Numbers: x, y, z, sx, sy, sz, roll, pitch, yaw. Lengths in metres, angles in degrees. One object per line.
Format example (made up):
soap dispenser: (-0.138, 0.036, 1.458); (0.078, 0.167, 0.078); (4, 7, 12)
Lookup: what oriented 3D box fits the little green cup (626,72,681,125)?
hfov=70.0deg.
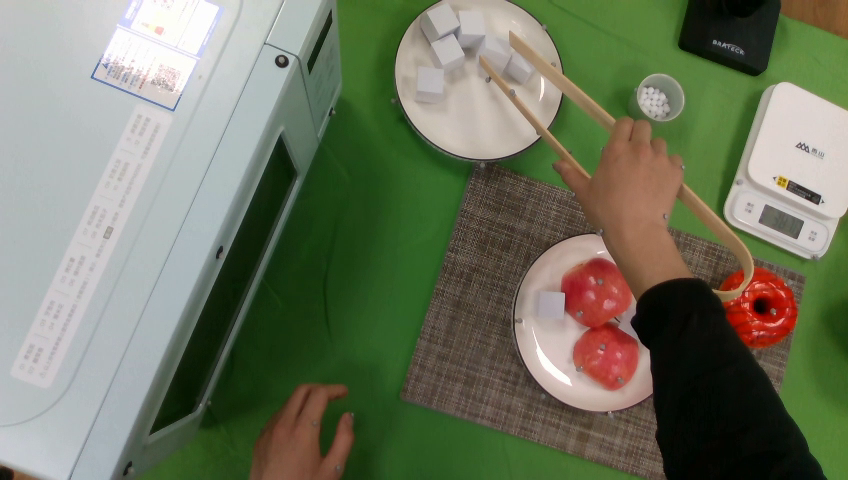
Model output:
little green cup: (0.286, -0.175, 0.762); (0.061, 0.038, 0.061); (1, 83, -6)

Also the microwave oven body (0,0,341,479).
microwave oven body: (-0.310, -0.066, 0.563); (0.326, 0.260, 0.440); (22, 82, -4)

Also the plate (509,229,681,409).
plate: (0.199, 0.091, 0.719); (0.209, 0.038, 0.208); (1, 83, -6)

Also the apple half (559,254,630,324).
apple half: (0.202, 0.054, 0.708); (0.081, 0.053, 0.074); (-26, 85, -9)

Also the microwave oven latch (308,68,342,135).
microwave oven latch: (-0.119, -0.163, 0.694); (0.030, 0.029, 0.079); (24, 82, -4)

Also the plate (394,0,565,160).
plate: (0.067, -0.196, 0.739); (0.208, 0.039, 0.207); (1, 83, -7)

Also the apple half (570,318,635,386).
apple half: (0.215, 0.130, 0.709); (0.081, 0.033, 0.081); (0, 84, -3)

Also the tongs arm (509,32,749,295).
tongs arm: (0.202, -0.100, 0.641); (0.028, 0.028, 0.384); (-32, 64, -7)

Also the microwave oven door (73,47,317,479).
microwave oven door: (-0.189, 0.026, 0.562); (0.039, 0.244, 0.355); (21, 81, -3)

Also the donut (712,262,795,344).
donut: (0.401, 0.077, 0.741); (0.099, 0.048, 0.098); (1, 83, -4)

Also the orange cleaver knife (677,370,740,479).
orange cleaver knife: (0.344, 0.264, 0.726); (0.077, 0.012, 0.210); (2, 82, -12)

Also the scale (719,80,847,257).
scale: (0.477, -0.093, 0.779); (0.149, 0.031, 0.200); (23, 82, -3)

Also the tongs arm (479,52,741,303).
tongs arm: (0.178, -0.084, 0.639); (0.051, 0.027, 0.381); (-31, 64, -3)
